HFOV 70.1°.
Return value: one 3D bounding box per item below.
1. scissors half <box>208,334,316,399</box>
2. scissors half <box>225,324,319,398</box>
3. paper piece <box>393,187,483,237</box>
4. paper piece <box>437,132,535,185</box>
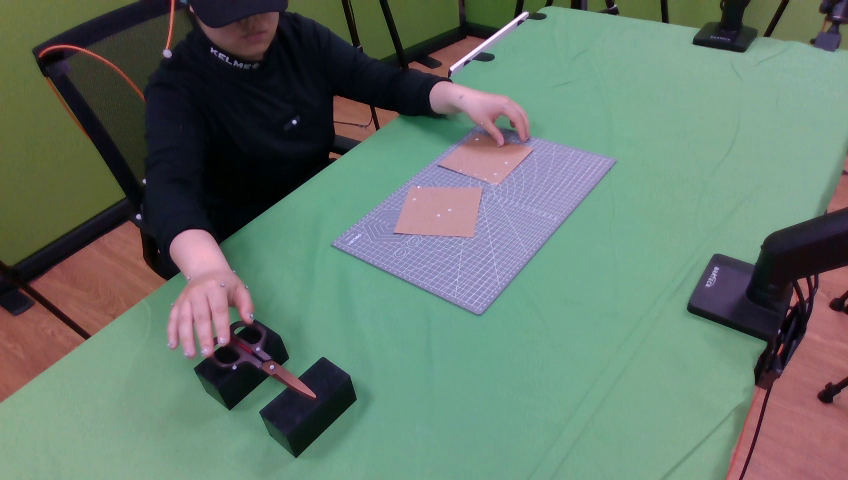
[{"bbox_3d":[-0.200,0.157,0.741,0.174,0.013,0.040,18,35,23],"label":"scissors half"},{"bbox_3d":[-0.189,0.149,0.754,0.173,0.013,0.040,29,46,34],"label":"scissors half"},{"bbox_3d":[0.027,-0.051,1.033,0.135,0.004,0.135,3,41,12],"label":"paper piece"},{"bbox_3d":[0.118,-0.158,1.146,0.135,0.009,0.138,26,50,28],"label":"paper piece"}]
